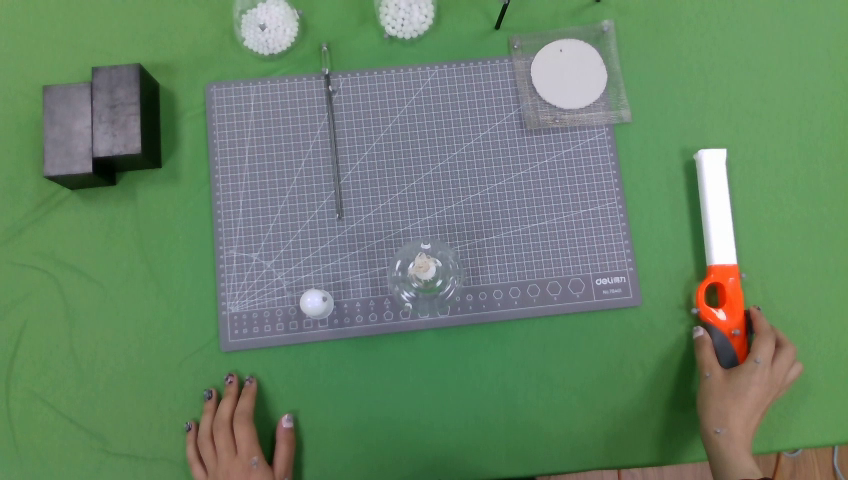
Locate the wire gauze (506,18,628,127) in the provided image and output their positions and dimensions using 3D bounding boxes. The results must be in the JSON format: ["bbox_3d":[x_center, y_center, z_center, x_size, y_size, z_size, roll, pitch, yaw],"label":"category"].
[{"bbox_3d":[0.163,-0.190,0.691,0.125,0.011,0.121,-7,81,-2],"label":"wire gauze"}]

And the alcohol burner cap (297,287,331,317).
[{"bbox_3d":[-0.116,0.062,0.626,0.034,0.048,0.033,0,81,-2],"label":"alcohol burner cap"}]

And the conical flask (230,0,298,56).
[{"bbox_3d":[-0.180,-0.253,0.637,0.075,0.122,0.075,0,80,-1],"label":"conical flask"}]

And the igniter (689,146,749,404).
[{"bbox_3d":[0.314,0.034,0.650,0.057,0.025,0.275,-1,81,0],"label":"igniter"}]

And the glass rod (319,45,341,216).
[{"bbox_3d":[-0.104,-0.124,0.672,0.008,0.008,0.199,-6,81,-3],"label":"glass rod"}]

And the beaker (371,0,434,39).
[{"bbox_3d":[-0.024,-0.275,0.657,0.074,0.100,0.083,-4,80,-2],"label":"beaker"}]

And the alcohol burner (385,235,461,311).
[{"bbox_3d":[-0.001,0.031,0.597,0.078,0.119,0.077,0,82,-1],"label":"alcohol burner"}]

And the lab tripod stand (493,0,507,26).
[{"bbox_3d":[0.132,-0.310,0.649,0.148,0.132,0.148,0,82,-1],"label":"lab tripod stand"}]
